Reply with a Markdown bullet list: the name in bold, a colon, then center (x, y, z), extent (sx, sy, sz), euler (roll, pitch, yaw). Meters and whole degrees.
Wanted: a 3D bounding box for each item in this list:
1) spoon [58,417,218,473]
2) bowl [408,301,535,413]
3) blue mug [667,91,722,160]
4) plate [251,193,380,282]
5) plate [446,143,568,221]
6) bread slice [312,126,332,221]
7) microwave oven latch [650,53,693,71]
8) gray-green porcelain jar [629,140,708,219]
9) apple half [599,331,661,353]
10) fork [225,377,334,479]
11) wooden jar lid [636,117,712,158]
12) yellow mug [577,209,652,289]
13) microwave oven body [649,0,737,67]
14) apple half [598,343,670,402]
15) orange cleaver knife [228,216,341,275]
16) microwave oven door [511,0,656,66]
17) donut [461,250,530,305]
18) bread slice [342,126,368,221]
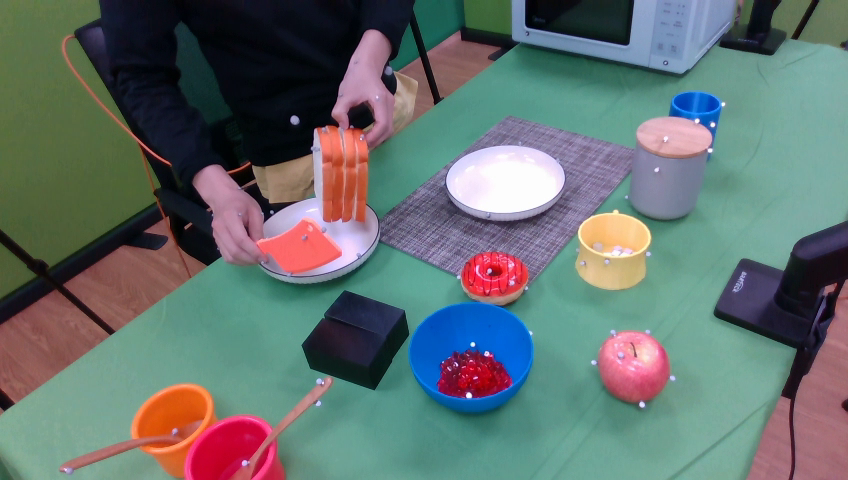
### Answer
- **spoon**: center (-0.304, 0.221, 0.661), extent (0.041, 0.195, 0.021), euler (19, 92, 27)
- **bowl**: center (0.060, 0.156, 0.739), extent (0.151, 0.077, 0.150), euler (-4, 40, 4)
- **blue mug**: center (0.474, -0.207, 1.079), extent (0.082, 0.106, 0.116), euler (4, 42, 13)
- **plate**: center (-0.173, -0.001, 0.984), extent (0.209, 0.038, 0.208), euler (-4, 41, 4)
- **plate**: center (0.142, -0.097, 1.045), extent (0.207, 0.039, 0.206), euler (-4, 40, 4)
- **bread slice**: center (-0.157, -0.110, 0.930), extent (0.019, 0.132, 0.104), euler (-5, 33, -16)
- **microwave oven latch**: center (0.531, -0.386, 1.301), extent (0.078, 0.029, 0.030), euler (26, 51, 33)
- **gray-green porcelain jar**: center (0.383, -0.105, 0.958), extent (0.106, 0.127, 0.105), euler (-4, 41, 4)
- **apple half**: center (0.249, 0.134, 0.738), extent (0.081, 0.081, 0.032), euler (-2, 46, 7)
- **fork**: center (-0.163, 0.216, 0.646), extent (0.207, 0.019, 0.028), euler (-49, 42, 16)
- **wooden jar lid**: center (0.377, -0.151, 0.917), extent (0.108, 0.021, 0.108), euler (-2, 41, 3)
- **yellow mug**: center (0.279, 0.004, 0.893), extent (0.099, 0.064, 0.130), euler (5, 41, 15)
- **microwave oven body**: center (0.475, -0.602, 1.411), extent (0.438, 0.261, 0.327), euler (23, 50, 32)
- **apple half**: center (0.247, 0.161, 0.710), extent (0.081, 0.075, 0.053), euler (2, 47, 5)
- **orange cleaver knife**: center (-0.194, 0.016, 0.827), extent (0.210, 0.077, 0.012), euler (-13, 28, 40)
- **microwave oven door**: center (0.351, -0.539, 1.348), extent (0.353, 0.245, 0.039), euler (24, 50, 31)
- **donut**: center (0.103, 0.053, 0.872), extent (0.099, 0.048, 0.098), euler (-4, 40, 4)
- **bread slice**: center (-0.109, -0.109, 0.946), extent (0.018, 0.134, 0.106), euler (-5, 39, -19)
